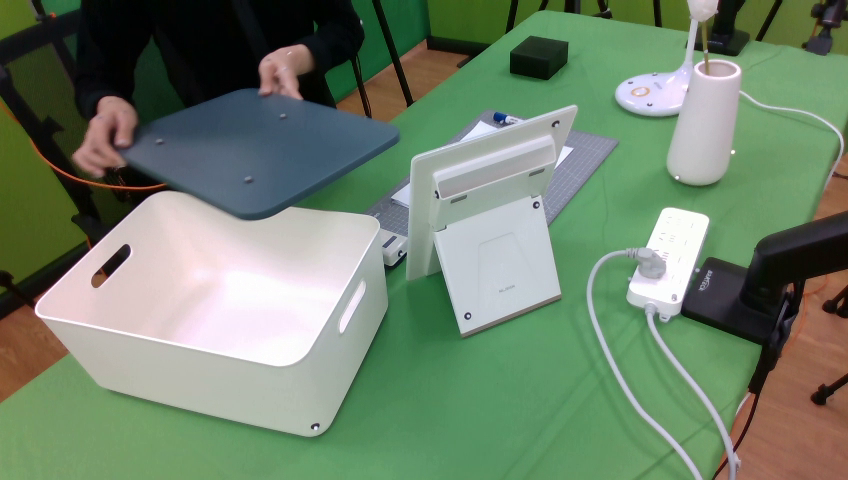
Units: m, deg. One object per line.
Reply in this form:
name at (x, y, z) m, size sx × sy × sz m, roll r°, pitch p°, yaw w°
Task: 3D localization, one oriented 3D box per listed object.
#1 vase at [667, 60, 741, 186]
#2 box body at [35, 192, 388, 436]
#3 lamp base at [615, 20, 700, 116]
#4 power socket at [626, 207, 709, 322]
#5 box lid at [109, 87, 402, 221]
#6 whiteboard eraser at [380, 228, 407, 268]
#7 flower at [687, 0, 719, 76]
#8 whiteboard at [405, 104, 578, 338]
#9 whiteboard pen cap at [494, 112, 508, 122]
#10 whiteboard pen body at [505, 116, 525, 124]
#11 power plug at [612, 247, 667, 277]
vase at (0.463, -0.189, 0.994) m, size 0.098 × 0.201 × 0.097 m, roll -4°, pitch 40°, yaw 4°
box body at (-0.251, 0.087, 0.800) m, size 0.362 × 0.161 × 0.254 m, roll 7°, pitch 42°, yaw 16°
lamp base at (0.484, -0.364, 1.211) m, size 0.180 × 0.181 × 0.159 m, roll -15°, pitch 41°, yaw -14°
power socket at (0.360, 0.026, 0.886) m, size 0.072 × 0.033 × 0.227 m, roll 17°, pitch 46°, yaw 26°
box lid at (-0.239, -0.136, 0.840) m, size 0.368 × 0.015 × 0.264 m, roll 22°, pitch 44°, yaw 35°
whiteboard eraser at (-0.081, 0.007, 0.963) m, size 0.112 × 0.042 × 0.056 m, roll 19°, pitch 48°, yaw 27°
flower at (0.436, -0.242, 0.934) m, size 0.038 × 0.364 × 0.043 m, roll -25°, pitch 49°, yaw 8°
whiteboard at (0.103, 0.003, 0.787) m, size 0.218 × 0.306 × 0.143 m, roll -19°, pitch 62°, yaw -14°
whiteboard pen cap at (0.161, -0.253, 1.248) m, size 0.033 × 0.018 × 0.018 m, roll 27°, pitch 51°, yaw 36°
whiteboard pen body at (0.203, -0.232, 1.213) m, size 0.139 × 0.017 × 0.017 m, roll 27°, pitch 51°, yaw 36°
power plug at (0.306, 0.031, 0.852) m, size 0.072 × 0.053 × 0.035 m, roll 21°, pitch 48°, yaw 37°
